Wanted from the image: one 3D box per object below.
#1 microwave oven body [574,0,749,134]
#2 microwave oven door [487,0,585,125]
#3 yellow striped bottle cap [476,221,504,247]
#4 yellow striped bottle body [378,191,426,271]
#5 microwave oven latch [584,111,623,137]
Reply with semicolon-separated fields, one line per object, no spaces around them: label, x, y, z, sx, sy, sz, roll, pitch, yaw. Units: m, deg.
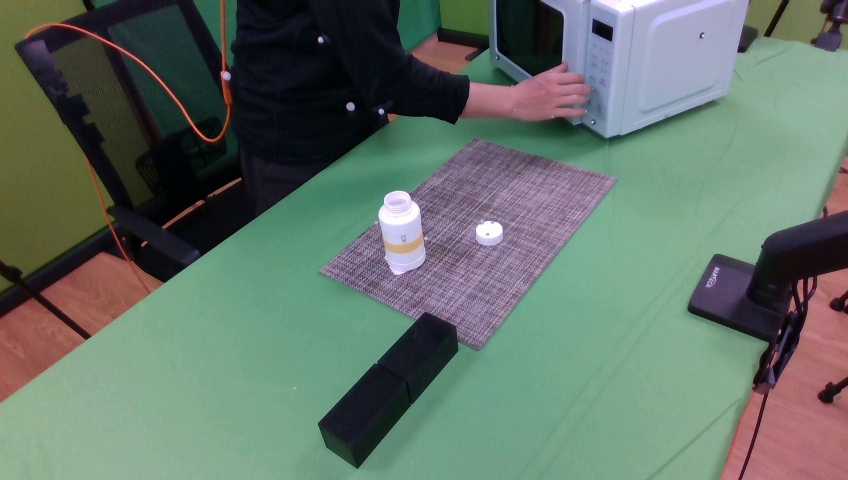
microwave oven body;0.382;-0.445;1.246;0.327;0.261;0.437;-22;42;-16
microwave oven door;0.223;-0.417;1.228;0.039;0.245;0.352;-20;42;-14
yellow striped bottle cap;0.105;-0.010;0.966;0.044;0.019;0.044;-4;39;4
yellow striped bottle body;-0.033;-0.016;0.910;0.063;0.121;0.062;-4;41;4
microwave oven latch;0.337;-0.222;1.142;0.030;0.029;0.078;-21;42;-14
